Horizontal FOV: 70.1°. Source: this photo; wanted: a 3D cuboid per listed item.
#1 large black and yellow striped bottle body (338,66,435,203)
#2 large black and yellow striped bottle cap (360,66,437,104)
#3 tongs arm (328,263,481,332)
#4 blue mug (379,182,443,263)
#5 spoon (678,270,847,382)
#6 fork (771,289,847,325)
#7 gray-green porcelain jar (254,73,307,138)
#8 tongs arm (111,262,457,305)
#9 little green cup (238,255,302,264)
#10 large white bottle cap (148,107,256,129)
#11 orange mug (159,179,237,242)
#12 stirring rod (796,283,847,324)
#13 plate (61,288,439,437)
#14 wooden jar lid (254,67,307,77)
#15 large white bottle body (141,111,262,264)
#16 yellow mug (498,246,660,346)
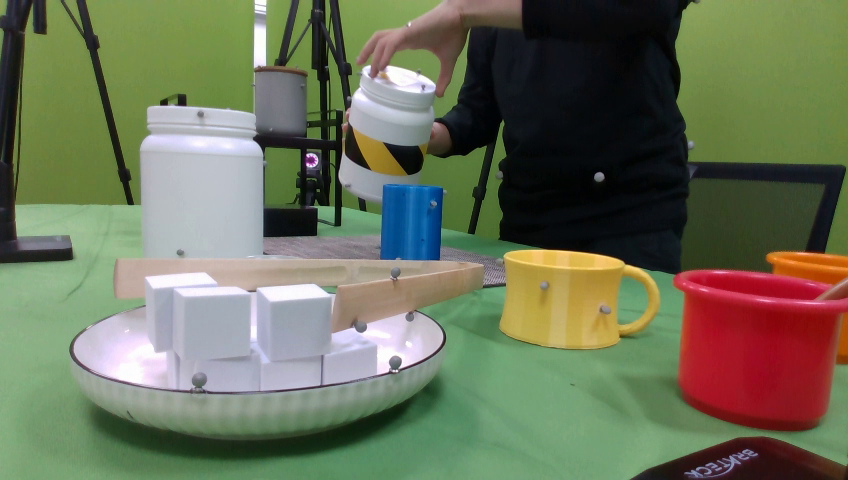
[{"bbox_3d":[-0.057,-0.166,0.952,0.131,0.184,0.130,12,30,-7],"label":"large black and yellow striped bottle body"},{"bbox_3d":[-0.038,-0.235,0.909,0.115,0.019,0.115,11,30,-6],"label":"large black and yellow striped bottle cap"},{"bbox_3d":[-0.003,0.036,0.493,0.050,0.026,0.386,1,-1,19],"label":"tongs arm"},{"bbox_3d":[-0.020,-0.026,0.833,0.082,0.106,0.116,1,7,-7],"label":"blue mug"},{"bbox_3d":[0.229,0.031,0.338,0.193,0.021,0.042,-44,-17,27],"label":"spoon"},{"bbox_3d":[0.335,0.018,0.443,0.028,0.018,0.207,-1,-36,-20],"label":"fork"},{"bbox_3d":[-0.298,-0.277,1.259,0.106,0.126,0.106,3,7,0],"label":"gray-green porcelain jar"},{"bbox_3d":[-0.080,0.033,0.527,0.028,0.027,0.389,-4,-4,33],"label":"tongs arm"},{"bbox_3d":[-0.150,0.038,0.590,0.061,0.038,0.061,3,6,0],"label":"little green cup"},{"bbox_3d":[-0.250,-0.137,0.686,0.115,0.018,0.115,3,8,0],"label":"large white bottle cap"},{"bbox_3d":[-0.368,-0.052,0.991,0.127,0.101,0.083,-10,14,-41],"label":"orange mug"},{"bbox_3d":[0.347,0.019,0.460,0.014,0.176,0.006,-16,59,-25],"label":"stirring rod"},{"bbox_3d":[-0.095,0.069,0.362,0.208,0.039,0.207,3,7,0],"label":"plate"},{"bbox_3d":[-0.296,-0.339,1.251,0.108,0.020,0.108,2,7,0],"label":"wooden jar lid"},{"bbox_3d":[-0.254,-0.053,0.697,0.131,0.184,0.130,2,7,0],"label":"large white bottle body"},{"bbox_3d":[0.130,0.045,0.508,0.131,0.064,0.100,4,7,6],"label":"yellow mug"}]
